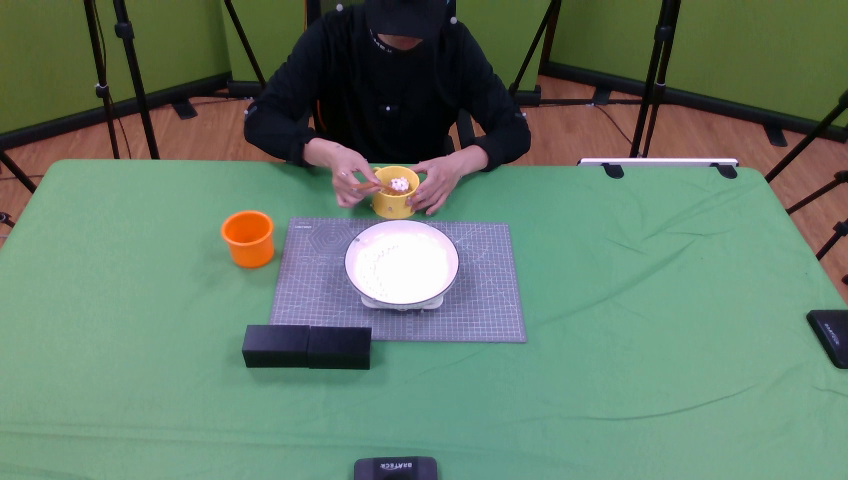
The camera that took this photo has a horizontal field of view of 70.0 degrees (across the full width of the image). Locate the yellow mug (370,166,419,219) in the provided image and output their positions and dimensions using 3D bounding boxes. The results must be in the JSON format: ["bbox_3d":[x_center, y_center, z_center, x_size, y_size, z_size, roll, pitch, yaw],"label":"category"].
[{"bbox_3d":[-0.072,-0.108,1.268,0.100,0.064,0.130,-30,54,-29],"label":"yellow mug"}]

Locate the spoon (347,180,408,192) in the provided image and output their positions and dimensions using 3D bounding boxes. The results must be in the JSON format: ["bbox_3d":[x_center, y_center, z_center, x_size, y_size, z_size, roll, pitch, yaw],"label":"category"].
[{"bbox_3d":[-0.092,-0.108,1.203,0.041,0.021,0.194,37,19,22],"label":"spoon"}]

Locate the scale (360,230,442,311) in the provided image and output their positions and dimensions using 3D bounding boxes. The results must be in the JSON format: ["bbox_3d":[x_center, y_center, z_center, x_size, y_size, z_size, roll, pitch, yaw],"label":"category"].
[{"bbox_3d":[-0.042,0.047,1.138,0.149,0.032,0.199,2,46,-3],"label":"scale"}]

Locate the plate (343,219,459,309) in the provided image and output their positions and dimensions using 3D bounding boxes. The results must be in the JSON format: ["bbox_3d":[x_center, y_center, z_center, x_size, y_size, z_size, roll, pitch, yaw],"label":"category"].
[{"bbox_3d":[-0.041,0.046,1.094,0.209,0.038,0.208,2,46,-2],"label":"plate"}]
